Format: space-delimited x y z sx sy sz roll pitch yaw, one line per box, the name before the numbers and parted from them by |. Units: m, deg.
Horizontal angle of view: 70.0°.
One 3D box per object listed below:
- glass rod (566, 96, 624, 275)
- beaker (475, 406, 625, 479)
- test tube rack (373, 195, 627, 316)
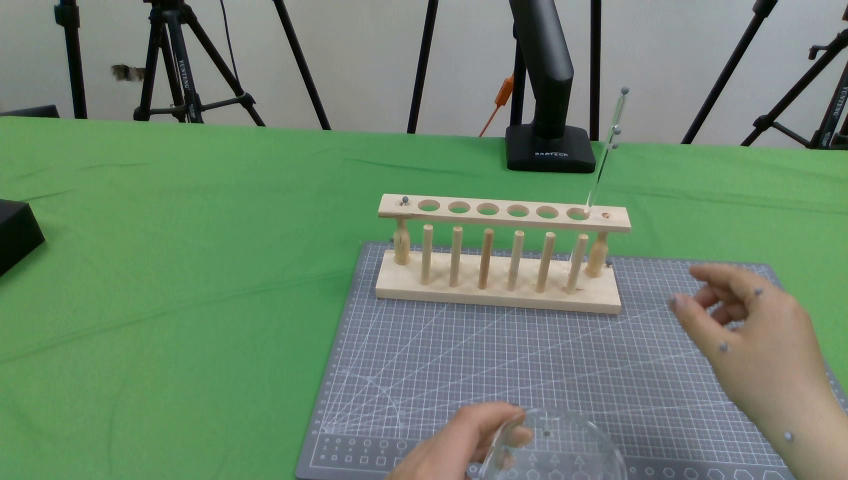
glass rod | 0.158 -0.042 0.570 0.008 0.201 0.008 4 38 -2
beaker | 0.067 0.161 0.363 0.084 0.101 0.073 -6 37 -11
test tube rack | 0.072 0.014 0.605 0.242 0.086 0.066 4 37 4
